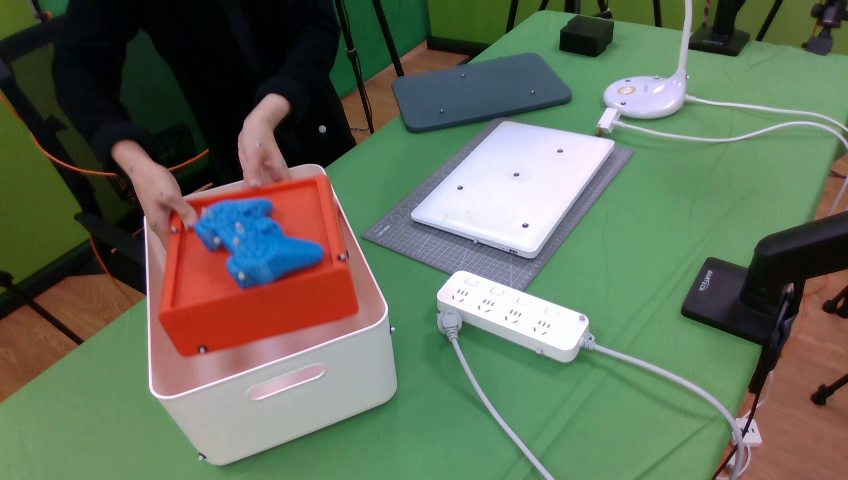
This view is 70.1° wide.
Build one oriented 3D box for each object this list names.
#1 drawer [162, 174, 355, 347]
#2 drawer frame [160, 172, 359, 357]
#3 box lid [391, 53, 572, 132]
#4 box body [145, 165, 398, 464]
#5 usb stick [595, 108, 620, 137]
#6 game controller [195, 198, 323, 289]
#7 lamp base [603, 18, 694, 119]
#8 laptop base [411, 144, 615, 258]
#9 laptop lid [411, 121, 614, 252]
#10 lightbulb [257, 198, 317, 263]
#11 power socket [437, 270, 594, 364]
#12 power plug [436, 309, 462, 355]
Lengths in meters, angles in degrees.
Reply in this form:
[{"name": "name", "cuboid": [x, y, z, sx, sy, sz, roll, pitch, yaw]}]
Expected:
[{"name": "drawer", "cuboid": [-0.196, 0.016, 0.727, 0.195, 0.073, 0.210, -12, 36, -9]}, {"name": "drawer frame", "cuboid": [-0.195, 0.018, 0.729, 0.202, 0.083, 0.212, -13, 39, -8]}, {"name": "box lid", "cuboid": [0.122, -0.339, 1.366, 0.372, 0.015, 0.261, -12, 40, -5]}, {"name": "box body", "cuboid": [-0.205, 0.080, 0.802, 0.255, 0.161, 0.361, -18, 41, -13]}, {"name": "usb stick", "cuboid": [0.355, -0.226, 1.175, 0.027, 0.022, 0.059, 29, 85, 41]}, {"name": "game controller", "cuboid": [-0.190, -0.006, 0.675, 0.097, 0.052, 0.154, -33, 44, -21]}, {"name": "lamp base", "cuboid": [0.460, -0.355, 1.205, 0.179, 0.181, 0.160, 2, 41, 7]}, {"name": "laptop base", "cuboid": [0.167, -0.102, 1.074, 0.234, 0.023, 0.355, 16, 45, 30]}, {"name": "laptop lid", "cuboid": [0.164, -0.112, 1.068, 0.240, 0.013, 0.357, 19, 46, 30]}, {"name": "lightbulb", "cuboid": [-0.170, -0.009, 0.771, 0.060, 0.060, 0.107, -30, 60, -24]}, {"name": "power socket", "cuboid": [0.118, 0.102, 0.830, 0.225, 0.033, 0.072, 20, 48, 28]}, {"name": "power plug", "cuboid": [0.031, 0.127, 0.809, 0.035, 0.053, 0.072, 4, 58, 7]}]
